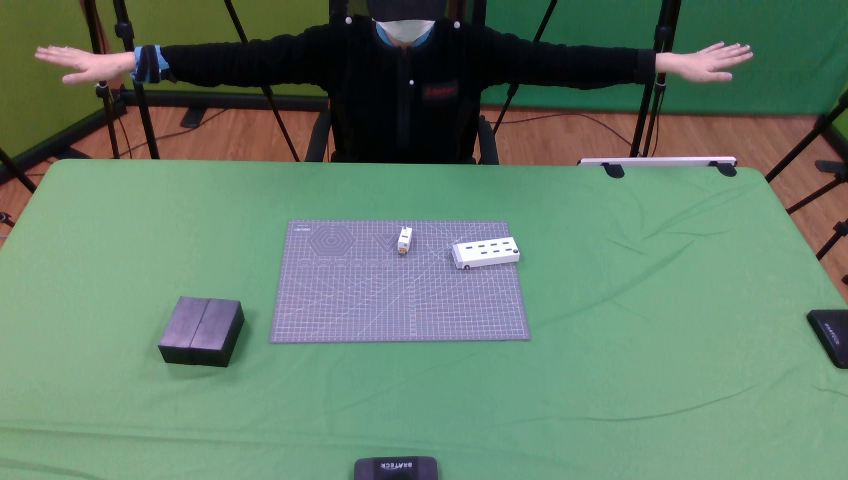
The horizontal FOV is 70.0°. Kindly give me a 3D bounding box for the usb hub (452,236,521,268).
[{"bbox_3d":[0.121,0.024,1.176,0.125,0.025,0.049,-7,48,-10],"label":"usb hub"}]

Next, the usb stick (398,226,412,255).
[{"bbox_3d":[-0.038,0.003,1.184,0.021,0.027,0.059,11,49,4],"label":"usb stick"}]
